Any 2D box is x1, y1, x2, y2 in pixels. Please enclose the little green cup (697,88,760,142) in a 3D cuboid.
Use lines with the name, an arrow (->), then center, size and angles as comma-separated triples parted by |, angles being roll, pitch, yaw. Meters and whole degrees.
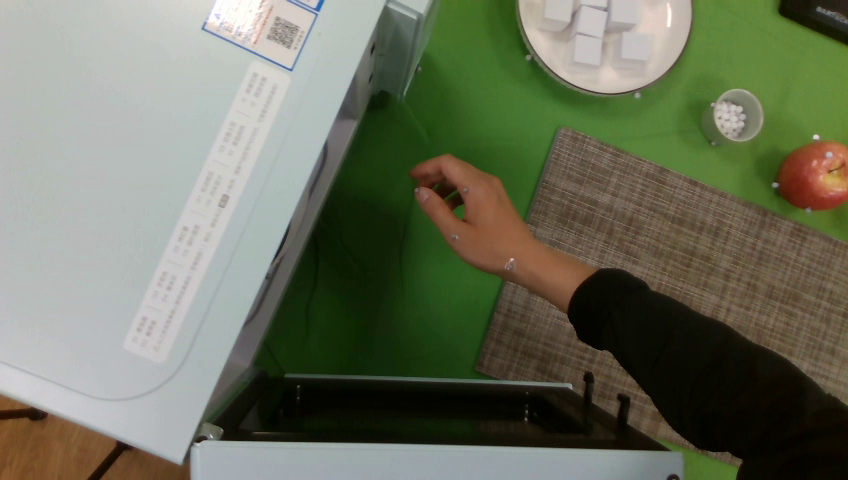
little green cup -> 0.356, -0.145, 0.715 | 0.061, 0.038, 0.061 | 0, 89, -7

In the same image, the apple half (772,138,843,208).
apple half -> 0.440, -0.076, 0.707 | 0.053, 0.074, 0.081 | -5, 93, -2

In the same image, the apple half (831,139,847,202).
apple half -> 0.479, -0.080, 0.711 | 0.033, 0.081, 0.081 | -6, 89, -2

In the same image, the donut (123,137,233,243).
donut -> -0.228, -0.045, 0.565 | 0.099, 0.048, 0.099 | 0, 89, -6

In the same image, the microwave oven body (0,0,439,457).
microwave oven body -> -0.215, -0.102, 0.529 | 0.327, 0.260, 0.441 | 24, 87, -6

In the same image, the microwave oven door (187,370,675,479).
microwave oven door -> 0.001, 0.162, 0.547 | 0.356, 0.243, 0.039 | 4, 87, -7

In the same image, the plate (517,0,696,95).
plate -> 0.206, -0.267, 0.698 | 0.208, 0.039, 0.207 | 0, 89, -7

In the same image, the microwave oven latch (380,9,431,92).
microwave oven latch -> -0.020, -0.202, 0.651 | 0.030, 0.029, 0.079 | 27, 87, -6

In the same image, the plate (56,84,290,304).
plate -> -0.233, -0.043, 0.580 | 0.209, 0.038, 0.209 | 0, 89, -6
